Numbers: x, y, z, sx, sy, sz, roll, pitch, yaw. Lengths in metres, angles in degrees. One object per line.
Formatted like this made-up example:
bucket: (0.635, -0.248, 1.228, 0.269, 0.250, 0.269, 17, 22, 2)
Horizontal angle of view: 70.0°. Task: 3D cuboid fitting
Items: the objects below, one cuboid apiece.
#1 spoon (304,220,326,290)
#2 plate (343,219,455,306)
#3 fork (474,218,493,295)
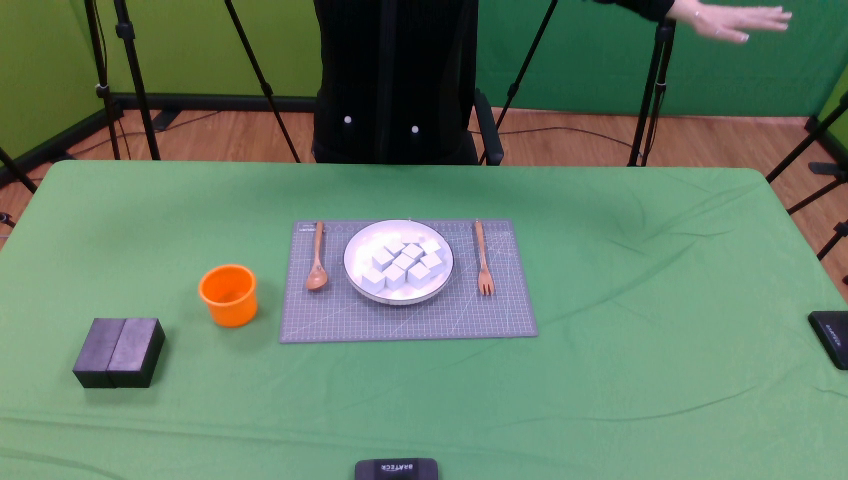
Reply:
spoon: (-0.205, 0.024, 1.154, 0.041, 0.022, 0.192, -13, 46, 7)
plate: (-0.047, 0.045, 1.136, 0.208, 0.039, 0.206, 2, 46, -2)
fork: (0.112, 0.029, 1.177, 0.028, 0.019, 0.206, -4, 48, 1)
